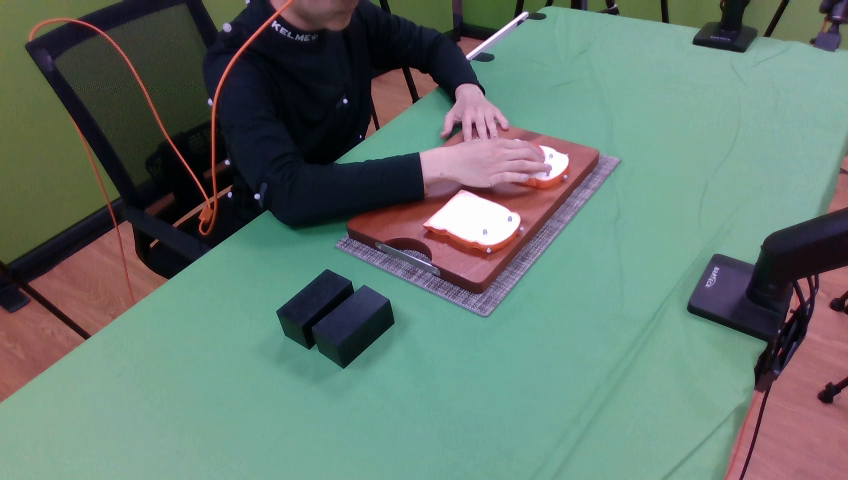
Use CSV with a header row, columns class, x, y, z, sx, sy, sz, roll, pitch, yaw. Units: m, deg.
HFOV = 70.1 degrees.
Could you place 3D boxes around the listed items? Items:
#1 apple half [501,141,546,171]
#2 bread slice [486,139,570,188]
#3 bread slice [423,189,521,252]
class,x,y,z,sx,sy,sz,roll,pitch,yaw
apple half,0.174,-0.155,1.049,0.081,0.033,0.081,-5,42,5
bread slice,0.190,-0.135,1.059,0.130,0.019,0.105,21,49,30
bread slice,0.084,-0.030,0.949,0.133,0.018,0.107,22,49,28
